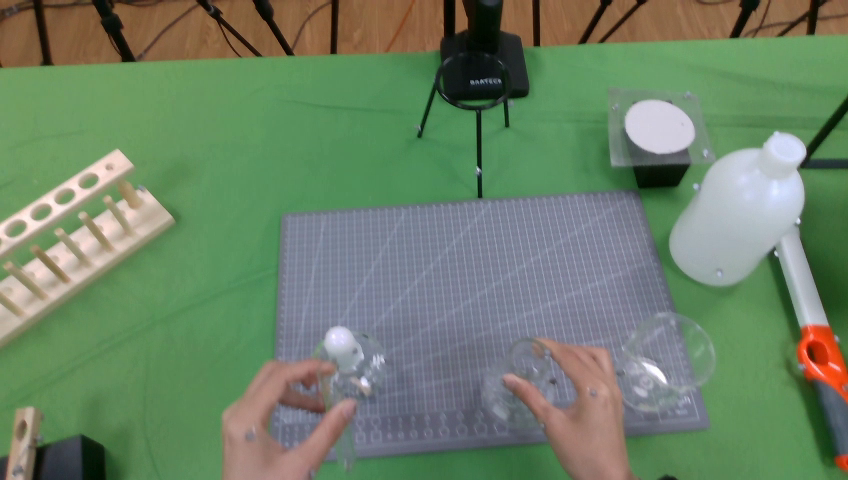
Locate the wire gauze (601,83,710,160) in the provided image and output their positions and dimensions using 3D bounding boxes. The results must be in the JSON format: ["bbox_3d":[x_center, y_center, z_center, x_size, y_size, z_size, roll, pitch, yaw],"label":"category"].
[{"bbox_3d":[0.285,-0.149,0.757,0.121,0.011,0.124,3,60,2],"label":"wire gauze"}]

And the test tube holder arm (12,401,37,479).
[{"bbox_3d":[-0.362,0.233,0.537,0.013,0.015,0.177,-12,65,2],"label":"test tube holder arm"}]

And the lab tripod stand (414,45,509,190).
[{"bbox_3d":[0.055,-0.156,0.746,0.148,0.132,0.147,1,61,-1],"label":"lab tripod stand"}]

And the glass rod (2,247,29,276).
[{"bbox_3d":[-0.453,-0.019,0.620,0.008,0.201,0.008,2,51,-2],"label":"glass rod"}]

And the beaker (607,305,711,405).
[{"bbox_3d":[0.226,0.119,0.605,0.084,0.101,0.073,1,60,2],"label":"beaker"}]

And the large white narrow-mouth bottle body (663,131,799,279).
[{"bbox_3d":[0.332,-0.042,0.645,0.102,0.196,0.101,0,60,1],"label":"large white narrow-mouth bottle body"}]

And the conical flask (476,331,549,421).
[{"bbox_3d":[0.089,0.124,0.578,0.075,0.123,0.074,-1,62,2],"label":"conical flask"}]

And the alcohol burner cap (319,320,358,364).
[{"bbox_3d":[-0.082,0.094,0.569,0.034,0.048,0.033,-3,60,5],"label":"alcohol burner cap"}]

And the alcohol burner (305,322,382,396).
[{"bbox_3d":[-0.081,0.112,0.601,0.078,0.120,0.077,1,59,-1],"label":"alcohol burner"}]

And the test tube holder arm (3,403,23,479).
[{"bbox_3d":[-0.375,0.194,0.556,0.010,0.015,0.087,-11,65,2],"label":"test tube holder arm"}]

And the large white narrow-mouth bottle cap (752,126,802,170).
[{"bbox_3d":[0.332,-0.087,0.571,0.038,0.024,0.037,0,60,0],"label":"large white narrow-mouth bottle cap"}]

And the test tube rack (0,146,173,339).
[{"bbox_3d":[-0.419,0.005,0.681,0.242,0.086,0.066,-41,68,-20],"label":"test tube rack"}]

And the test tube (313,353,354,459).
[{"bbox_3d":[-0.067,0.131,0.459,0.017,0.151,0.017,0,48,0],"label":"test tube"}]

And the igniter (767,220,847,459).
[{"bbox_3d":[0.422,0.097,0.662,0.057,0.025,0.274,6,60,-8],"label":"igniter"}]
